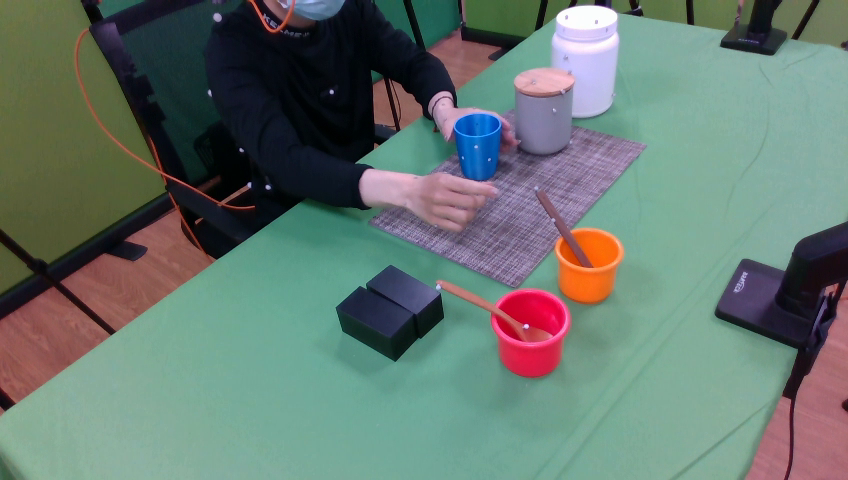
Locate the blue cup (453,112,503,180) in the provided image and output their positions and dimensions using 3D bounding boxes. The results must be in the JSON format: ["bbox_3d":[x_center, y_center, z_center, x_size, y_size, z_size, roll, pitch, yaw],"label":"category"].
[{"bbox_3d":[0.098,-0.165,1.088,0.092,0.100,0.092,-3,41,3],"label":"blue cup"}]

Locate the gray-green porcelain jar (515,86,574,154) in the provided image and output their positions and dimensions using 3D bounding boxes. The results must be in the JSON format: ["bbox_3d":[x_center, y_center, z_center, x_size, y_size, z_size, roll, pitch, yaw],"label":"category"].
[{"bbox_3d":[0.223,-0.233,1.129,0.106,0.127,0.105,-4,40,4],"label":"gray-green porcelain jar"}]

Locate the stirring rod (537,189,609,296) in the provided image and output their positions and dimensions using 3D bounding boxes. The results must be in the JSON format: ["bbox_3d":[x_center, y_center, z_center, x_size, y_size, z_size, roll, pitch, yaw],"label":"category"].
[{"bbox_3d":[0.210,0.003,0.855,0.014,0.006,0.176,-32,89,-30],"label":"stirring rod"}]

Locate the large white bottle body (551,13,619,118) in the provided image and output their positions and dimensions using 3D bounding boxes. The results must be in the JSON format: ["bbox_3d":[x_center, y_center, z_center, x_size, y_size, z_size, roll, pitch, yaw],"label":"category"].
[{"bbox_3d":[0.321,-0.355,1.218,0.130,0.185,0.130,-4,41,4],"label":"large white bottle body"}]

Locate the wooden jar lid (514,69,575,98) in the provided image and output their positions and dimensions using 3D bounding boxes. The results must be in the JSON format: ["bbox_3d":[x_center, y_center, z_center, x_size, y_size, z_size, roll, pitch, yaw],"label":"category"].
[{"bbox_3d":[0.216,-0.279,1.088,0.108,0.021,0.108,-3,38,3],"label":"wooden jar lid"}]

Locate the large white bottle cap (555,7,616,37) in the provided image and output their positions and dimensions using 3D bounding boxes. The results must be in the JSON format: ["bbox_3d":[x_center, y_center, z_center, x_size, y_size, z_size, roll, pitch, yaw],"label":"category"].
[{"bbox_3d":[0.311,-0.420,1.163,0.115,0.018,0.114,-4,40,4],"label":"large white bottle cap"}]

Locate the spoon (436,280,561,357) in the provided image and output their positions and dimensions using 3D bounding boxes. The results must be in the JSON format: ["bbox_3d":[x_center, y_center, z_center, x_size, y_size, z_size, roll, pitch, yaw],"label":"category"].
[{"bbox_3d":[0.096,0.095,0.757,0.195,0.021,0.041,34,42,-20],"label":"spoon"}]
